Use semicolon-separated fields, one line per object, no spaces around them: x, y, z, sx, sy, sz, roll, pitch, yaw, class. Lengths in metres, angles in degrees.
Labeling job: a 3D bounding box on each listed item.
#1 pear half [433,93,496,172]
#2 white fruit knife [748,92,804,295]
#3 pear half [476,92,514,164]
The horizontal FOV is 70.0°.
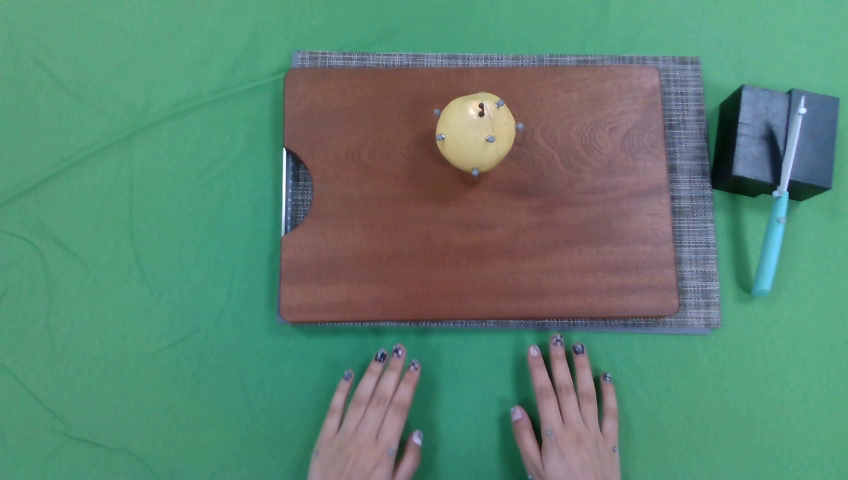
0.038;-0.104;0.578;0.056;0.110;0.076;-22;77;-4;pear half
0.354;-0.042;0.607;0.016;0.027;0.208;7;101;8;white fruit knife
0.071;-0.114;0.590;0.031;0.088;0.070;-22;76;-4;pear half
